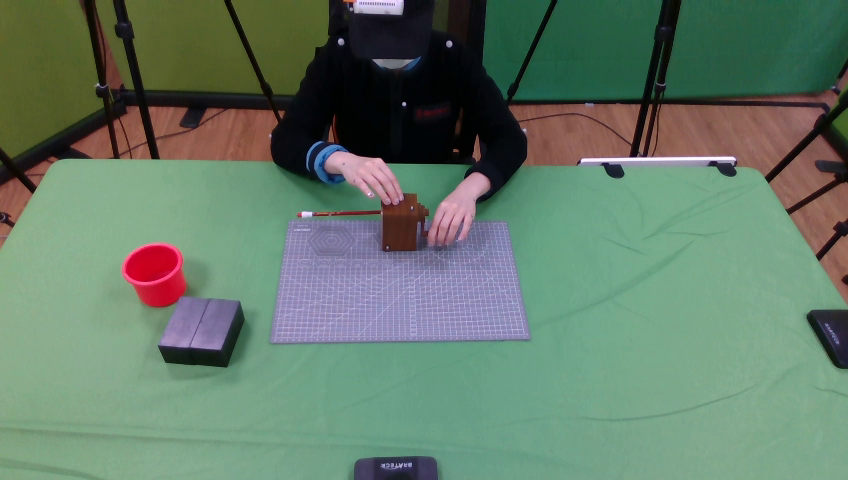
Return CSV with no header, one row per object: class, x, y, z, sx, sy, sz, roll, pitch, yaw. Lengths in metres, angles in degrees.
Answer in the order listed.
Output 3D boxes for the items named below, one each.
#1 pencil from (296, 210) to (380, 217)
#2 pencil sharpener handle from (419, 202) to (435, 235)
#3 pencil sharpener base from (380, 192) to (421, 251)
pencil,-0.144,-0.051,1.142,0.194,0.012,0.012,-1,46,0
pencil sharpener handle,0.006,-0.040,1.155,0.031,0.068,0.036,0,27,-5
pencil sharpener base,-0.046,-0.035,1.163,0.077,0.107,0.061,0,46,-5
